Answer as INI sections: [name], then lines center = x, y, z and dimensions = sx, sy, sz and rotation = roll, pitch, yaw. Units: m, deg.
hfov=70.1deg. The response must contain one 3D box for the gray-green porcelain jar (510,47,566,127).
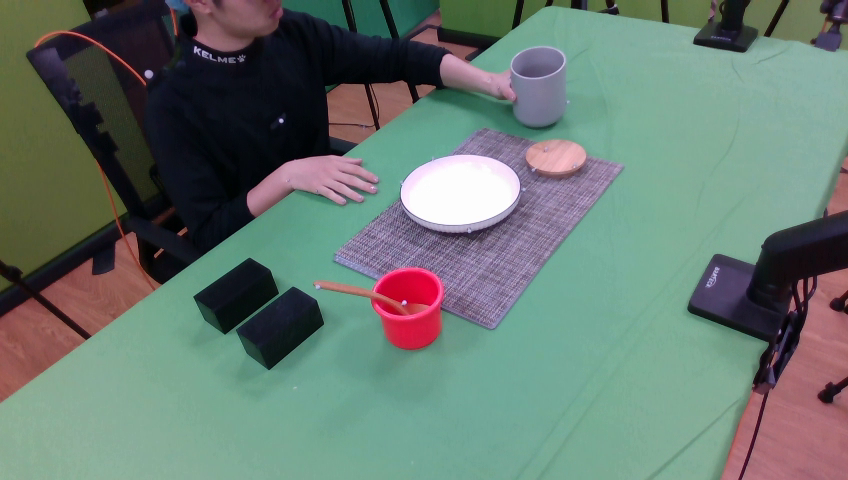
[gray-green porcelain jar]
center = 0.225, -0.295, 1.190
dimensions = 0.106, 0.127, 0.105
rotation = -6, 50, 8

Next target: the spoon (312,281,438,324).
[spoon]
center = -0.060, 0.078, 0.793
dimensions = 0.195, 0.021, 0.041
rotation = 24, 24, -35

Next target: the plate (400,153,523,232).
[plate]
center = 0.065, -0.078, 1.034
dimensions = 0.207, 0.039, 0.206
rotation = -4, 41, 4

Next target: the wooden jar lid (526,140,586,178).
[wooden jar lid]
center = 0.240, -0.147, 1.103
dimensions = 0.108, 0.021, 0.108
rotation = -4, 42, 4
